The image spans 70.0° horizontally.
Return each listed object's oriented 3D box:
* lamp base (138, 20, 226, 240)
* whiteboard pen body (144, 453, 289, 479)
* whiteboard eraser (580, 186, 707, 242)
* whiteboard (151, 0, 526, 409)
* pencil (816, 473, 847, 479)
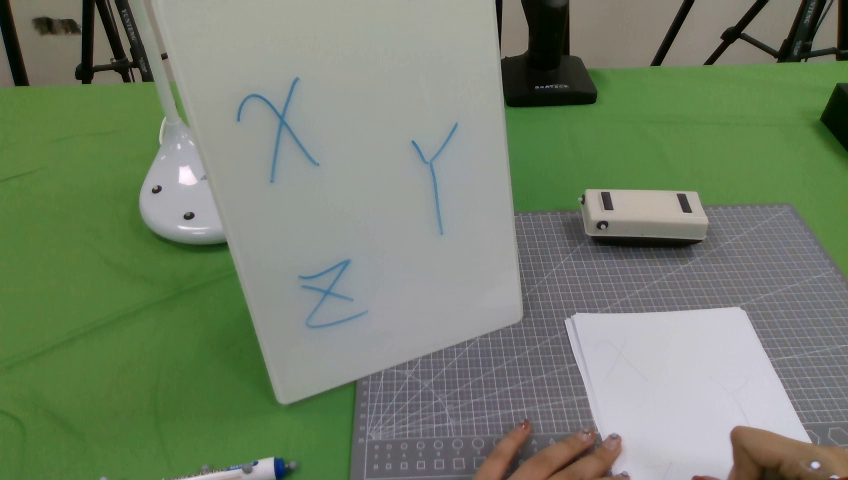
[{"bbox_3d":[-0.232,-0.117,0.607,0.177,0.182,0.160,27,50,30],"label":"lamp base"},{"bbox_3d":[-0.166,0.168,0.419,0.141,0.017,0.017,-9,43,-8],"label":"whiteboard pen body"},{"bbox_3d":[0.214,-0.025,0.599,0.112,0.042,0.055,2,44,4],"label":"whiteboard eraser"},{"bbox_3d":[-0.056,-0.059,0.492,0.217,0.307,0.142,-17,26,-15],"label":"whiteboard"},{"bbox_3d":[0.215,0.136,0.333,0.012,0.194,0.012,16,54,-22],"label":"pencil"}]
